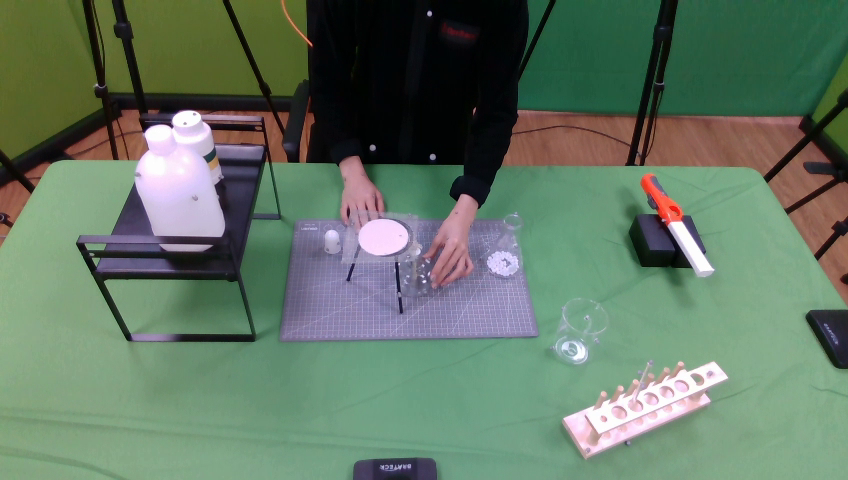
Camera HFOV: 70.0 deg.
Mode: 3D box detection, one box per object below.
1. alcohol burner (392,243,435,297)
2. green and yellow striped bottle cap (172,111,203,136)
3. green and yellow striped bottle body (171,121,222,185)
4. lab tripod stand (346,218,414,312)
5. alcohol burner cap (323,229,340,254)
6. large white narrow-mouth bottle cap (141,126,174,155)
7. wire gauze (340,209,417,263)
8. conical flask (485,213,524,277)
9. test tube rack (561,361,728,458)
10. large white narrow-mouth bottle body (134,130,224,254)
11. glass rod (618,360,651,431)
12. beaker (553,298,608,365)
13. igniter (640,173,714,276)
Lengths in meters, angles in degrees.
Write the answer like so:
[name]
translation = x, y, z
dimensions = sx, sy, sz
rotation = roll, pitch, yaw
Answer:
[alcohol burner]
translation = -0.019, 0.047, 1.084
dimensions = 0.078, 0.120, 0.077
rotation = 1, 47, 0
[green and yellow striped bottle cap]
translation = -0.374, -0.185, 0.958
dimensions = 0.045, 0.020, 0.045
rotation = 4, 46, -4
[green and yellow striped bottle body]
translation = -0.375, -0.149, 0.995
dimensions = 0.063, 0.120, 0.063
rotation = 2, 46, -2
[lab tripod stand]
translation = -0.070, 0.038, 1.075
dimensions = 0.148, 0.132, 0.147
rotation = 1, 47, -1
[alcohol burner cap]
translation = -0.179, 0.001, 1.165
dimensions = 0.034, 0.048, 0.033
rotation = 2, 45, -2
[large white narrow-mouth bottle cap]
translation = -0.356, -0.133, 0.811
dimensions = 0.038, 0.024, 0.037
rotation = 2, 48, -2
[wire gauze]
translation = -0.074, -0.007, 1.023
dimensions = 0.121, 0.011, 0.124
rotation = 3, 46, 0
[conical flask]
translation = 0.157, 0.007, 1.129
dimensions = 0.075, 0.122, 0.075
rotation = 2, 46, -2
[test tube rack]
translation = 0.341, 0.248, 0.940
dimensions = 0.243, 0.085, 0.066
rotation = -15, 49, -18
[large white narrow-mouth bottle body]
translation = -0.358, -0.075, 0.875
dimensions = 0.102, 0.195, 0.101
rotation = 1, 48, -1
[glass rod]
translation = 0.298, 0.227, 0.865
dimensions = 0.008, 0.201, 0.008
rotation = -1, 47, 2
[beaker]
translation = 0.260, 0.154, 1.015
dimensions = 0.073, 0.101, 0.084
rotation = 37, 54, 27
[igniter]
translation = 0.495, -0.039, 1.204
dimensions = 0.057, 0.025, 0.274
rotation = -2, 47, -12
